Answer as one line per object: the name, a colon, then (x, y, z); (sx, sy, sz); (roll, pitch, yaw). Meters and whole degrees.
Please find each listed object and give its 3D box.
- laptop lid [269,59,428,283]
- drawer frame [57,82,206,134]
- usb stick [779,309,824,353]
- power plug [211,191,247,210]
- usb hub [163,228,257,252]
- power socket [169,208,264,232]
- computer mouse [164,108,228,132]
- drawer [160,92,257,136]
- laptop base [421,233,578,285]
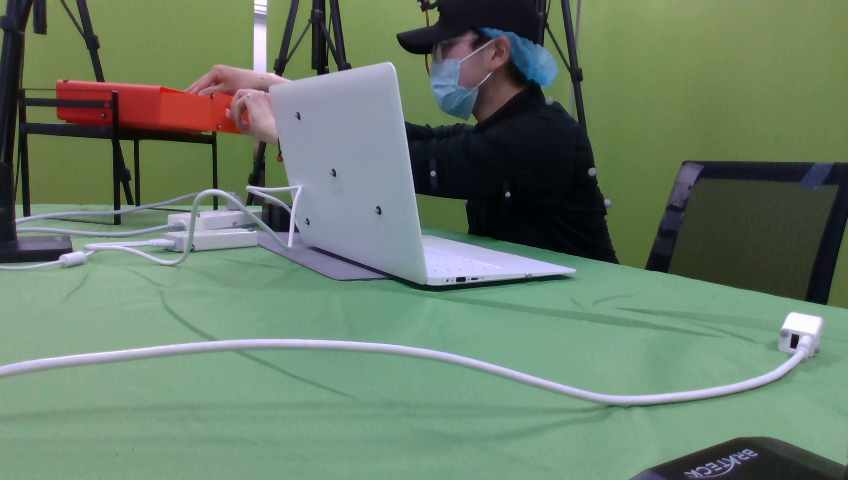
laptop lid: (-0.110, -0.087, 0.752); (0.013, 0.241, 0.355); (-18, 19, -30)
drawer frame: (-0.571, -0.264, 1.218); (0.213, 0.082, 0.202); (4, 8, 6)
usb stick: (0.311, 0.072, 0.496); (0.027, 0.021, 0.059); (8, 15, 34)
power plug: (-0.386, -0.070, 1.204); (0.072, 0.052, 0.035); (7, 9, 26)
usb hub: (-0.314, -0.001, 0.894); (0.049, 0.025, 0.126); (9, 10, 41)
power socket: (-0.380, -0.038, 1.128); (0.072, 0.032, 0.227); (4, 8, 17)
computer mouse: (-0.456, -0.240, 1.213); (0.118, 0.041, 0.062); (5, 4, -37)
drawer: (-0.470, -0.253, 1.205); (0.211, 0.073, 0.194); (5, 9, 9)
laptop base: (0.007, 0.022, 0.850); (0.237, 0.023, 0.352); (1, 7, -34)
